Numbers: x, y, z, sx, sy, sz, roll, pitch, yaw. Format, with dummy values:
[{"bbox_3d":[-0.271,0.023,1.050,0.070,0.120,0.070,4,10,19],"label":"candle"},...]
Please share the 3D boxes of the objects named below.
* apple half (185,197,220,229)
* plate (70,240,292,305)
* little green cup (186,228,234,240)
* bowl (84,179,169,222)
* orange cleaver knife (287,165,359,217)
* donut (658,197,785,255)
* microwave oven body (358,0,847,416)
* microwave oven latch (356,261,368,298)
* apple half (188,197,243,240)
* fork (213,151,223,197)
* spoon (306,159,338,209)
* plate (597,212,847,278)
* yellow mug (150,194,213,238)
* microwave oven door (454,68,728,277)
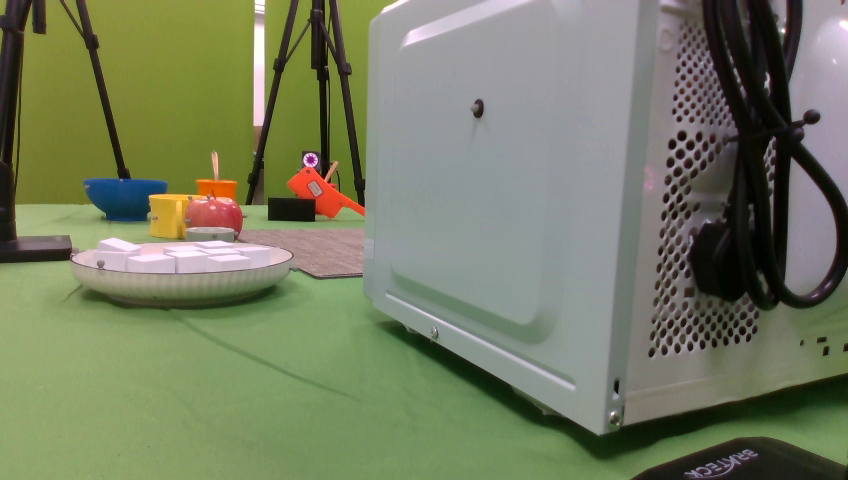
[{"bbox_3d":[-0.338,-0.031,0.927,0.032,0.081,0.081,12,12,31],"label":"apple half"},{"bbox_3d":[-0.242,0.031,0.618,0.208,0.039,0.207,2,8,0],"label":"plate"},{"bbox_3d":[-0.284,0.005,0.805,0.061,0.038,0.061,2,8,0],"label":"little green cup"},{"bbox_3d":[-0.584,-0.078,1.194,0.151,0.077,0.151,3,8,0],"label":"bowl"},{"bbox_3d":[-0.211,-0.093,1.382,0.212,0.077,0.012,33,1,-15],"label":"orange cleaver knife"},{"bbox_3d":[0.252,-0.012,0.518,0.099,0.048,0.099,0,9,0],"label":"donut"},{"bbox_3d":[0.210,-0.047,0.475,0.444,0.260,0.324,-1,7,-28],"label":"microwave oven body"},{"bbox_3d":[-0.020,0.033,0.530,0.079,0.029,0.030,-1,7,-27],"label":"microwave oven latch"},{"bbox_3d":[-0.305,-0.026,0.907,0.053,0.074,0.081,12,8,31],"label":"apple half"},{"bbox_3d":[-0.494,-0.143,1.442,0.028,0.018,0.206,-2,52,-20],"label":"fork"},{"bbox_3d":[-0.257,-0.147,1.567,0.041,0.022,0.193,1,51,20],"label":"spoon"},{"bbox_3d":[0.255,0.002,0.519,0.209,0.038,0.209,2,7,0],"label":"plate"},{"bbox_3d":[-0.401,-0.040,1.003,0.100,0.064,0.130,-1,9,-20],"label":"yellow mug"},{"bbox_3d":[0.198,-0.095,0.804,0.354,0.243,0.039,8,10,37],"label":"microwave oven door"}]
